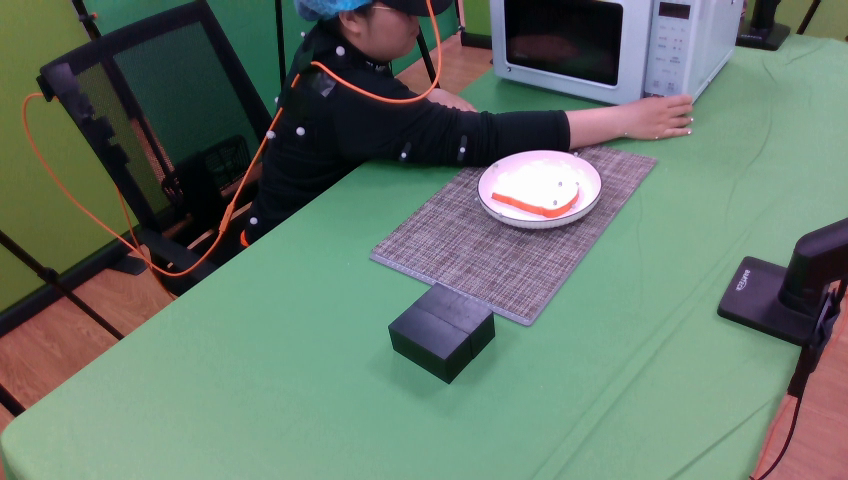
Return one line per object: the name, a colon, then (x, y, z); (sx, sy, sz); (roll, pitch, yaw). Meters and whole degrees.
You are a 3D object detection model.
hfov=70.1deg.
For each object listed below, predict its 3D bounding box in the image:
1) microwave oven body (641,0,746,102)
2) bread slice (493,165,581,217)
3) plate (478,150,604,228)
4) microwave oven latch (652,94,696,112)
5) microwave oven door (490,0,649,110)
microwave oven body: (0.417, -0.486, 1.290); (0.438, 0.261, 0.327); (21, 50, 33)
bread slice: (0.201, -0.084, 1.034); (0.130, 0.019, 0.105); (24, 51, 34)
plate: (0.198, -0.084, 1.030); (0.209, 0.038, 0.208); (-5, 40, 5)
microwave oven latch: (0.485, -0.276, 1.178); (0.030, 0.029, 0.078); (-31, 44, -21)
microwave oven door: (0.287, -0.415, 1.223); (0.353, 0.245, 0.039); (24, 51, 34)
